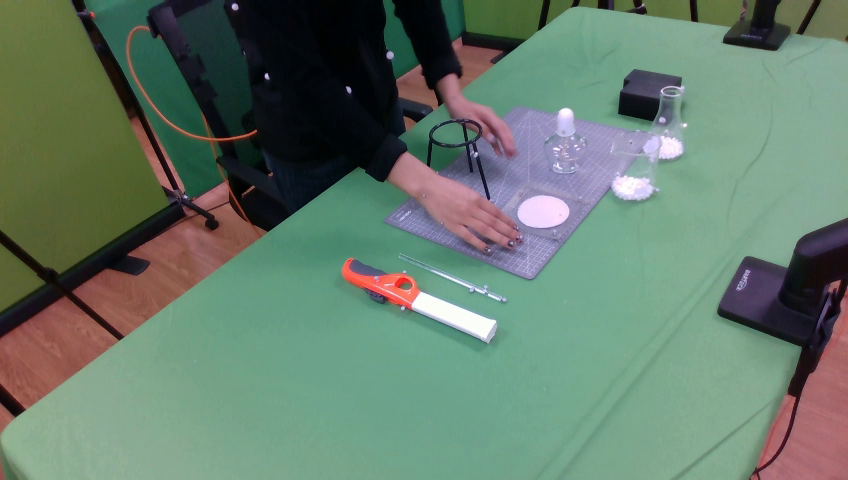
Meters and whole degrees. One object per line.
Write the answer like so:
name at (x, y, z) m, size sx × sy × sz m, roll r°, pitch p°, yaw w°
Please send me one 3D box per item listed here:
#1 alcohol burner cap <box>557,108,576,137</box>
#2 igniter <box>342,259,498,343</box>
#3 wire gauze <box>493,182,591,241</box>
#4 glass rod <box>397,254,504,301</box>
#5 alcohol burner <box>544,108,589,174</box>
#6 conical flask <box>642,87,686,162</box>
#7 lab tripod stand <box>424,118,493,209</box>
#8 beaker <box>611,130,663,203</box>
alcohol burner cap at (0.246, -0.205, 1.047) m, size 0.034 × 0.048 × 0.033 m, roll -8°, pitch 44°, yaw 8°
igniter at (-0.017, 0.084, 0.883) m, size 0.274 × 0.025 × 0.057 m, roll 20°, pitch 59°, yaw 31°
wire gauze at (0.198, -0.048, 1.011) m, size 0.120 × 0.011 × 0.125 m, roll 20°, pitch 50°, yaw 31°
glass rod at (0.036, 0.054, 0.922) m, size 0.198 × 0.008 × 0.008 m, roll 21°, pitch 49°, yaw 31°
alcohol burner at (0.252, -0.178, 1.071) m, size 0.078 × 0.120 × 0.077 m, roll -7°, pitch 40°, yaw 6°
conical flask at (0.429, -0.206, 1.067) m, size 0.075 × 0.122 × 0.075 m, roll -6°, pitch 40°, yaw 5°
lab tripod stand at (0.061, -0.133, 1.038) m, size 0.148 × 0.132 × 0.147 m, roll -6°, pitch 38°, yaw 6°
beaker at (0.346, -0.118, 0.998) m, size 0.084 × 0.101 × 0.073 m, roll -17°, pitch 40°, yaw -7°
